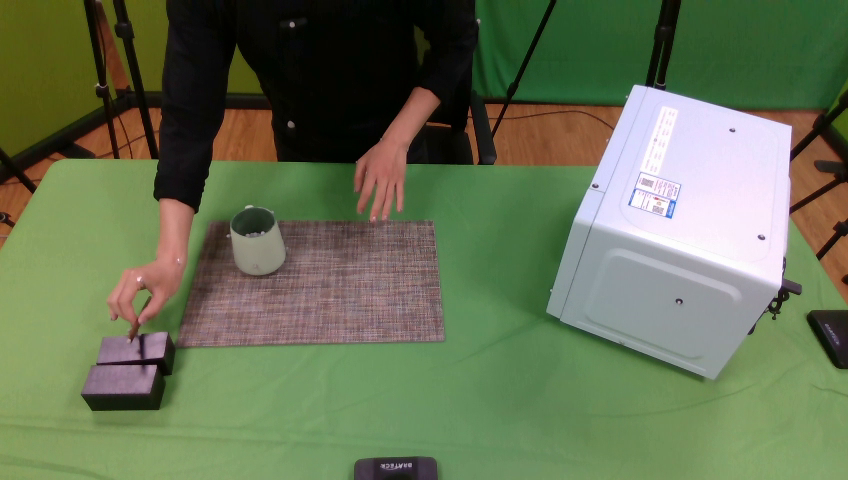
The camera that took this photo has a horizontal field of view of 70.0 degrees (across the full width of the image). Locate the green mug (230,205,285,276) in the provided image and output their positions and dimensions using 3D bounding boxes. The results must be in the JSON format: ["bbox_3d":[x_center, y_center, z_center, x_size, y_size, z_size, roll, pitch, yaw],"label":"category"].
[{"bbox_3d":[-0.311,-0.008,1.118,0.092,0.105,0.124,-14,48,-16],"label":"green mug"}]

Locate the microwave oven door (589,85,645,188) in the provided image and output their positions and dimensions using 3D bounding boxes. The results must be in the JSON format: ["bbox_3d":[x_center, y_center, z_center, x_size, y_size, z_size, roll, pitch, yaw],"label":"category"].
[{"bbox_3d":[0.342,-0.107,1.148,0.039,0.245,0.354,20,48,15],"label":"microwave oven door"}]

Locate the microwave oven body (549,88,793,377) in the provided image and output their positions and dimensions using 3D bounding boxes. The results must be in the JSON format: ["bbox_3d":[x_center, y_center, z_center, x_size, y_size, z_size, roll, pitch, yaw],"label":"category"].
[{"bbox_3d":[0.456,-0.028,1.087,0.325,0.261,0.440,20,47,16],"label":"microwave oven body"}]

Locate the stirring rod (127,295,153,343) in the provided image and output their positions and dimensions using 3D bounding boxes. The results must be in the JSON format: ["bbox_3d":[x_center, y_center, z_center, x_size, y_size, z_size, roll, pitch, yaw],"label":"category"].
[{"bbox_3d":[-0.461,0.126,0.987,0.006,0.014,0.175,-3,16,-13],"label":"stirring rod"}]

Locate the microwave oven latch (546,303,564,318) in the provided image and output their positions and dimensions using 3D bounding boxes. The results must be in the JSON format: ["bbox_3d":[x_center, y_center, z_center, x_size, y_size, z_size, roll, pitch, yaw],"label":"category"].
[{"bbox_3d":[0.242,0.102,1.081,0.030,0.029,0.079,21,48,17],"label":"microwave oven latch"}]
